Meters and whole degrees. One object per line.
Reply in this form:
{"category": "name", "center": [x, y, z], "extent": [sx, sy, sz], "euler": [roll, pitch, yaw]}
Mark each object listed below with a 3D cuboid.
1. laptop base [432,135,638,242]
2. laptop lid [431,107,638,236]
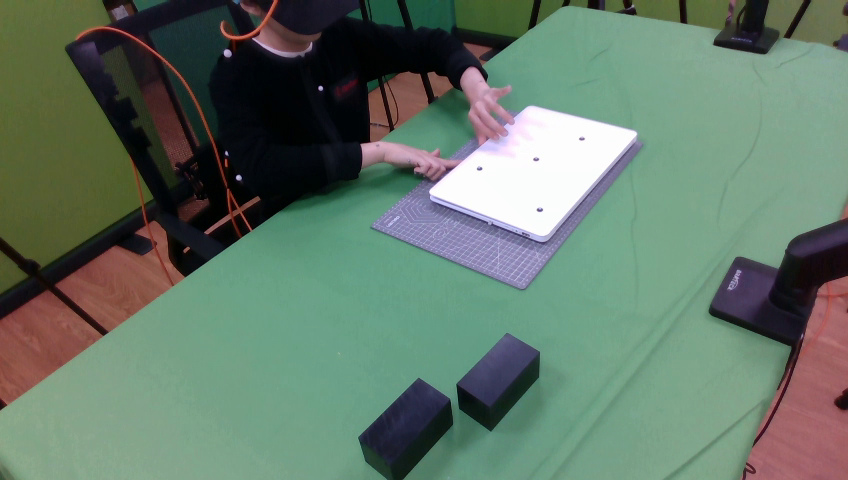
{"category": "laptop base", "center": [0.208, -0.128, 1.098], "extent": [0.233, 0.023, 0.355], "euler": [20, 47, 34]}
{"category": "laptop lid", "center": [0.204, -0.141, 1.089], "extent": [0.240, 0.013, 0.358], "euler": [24, 49, 32]}
